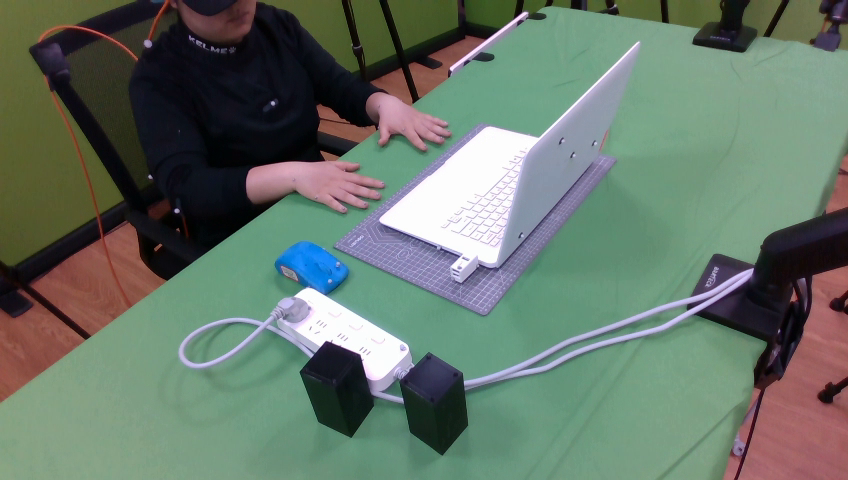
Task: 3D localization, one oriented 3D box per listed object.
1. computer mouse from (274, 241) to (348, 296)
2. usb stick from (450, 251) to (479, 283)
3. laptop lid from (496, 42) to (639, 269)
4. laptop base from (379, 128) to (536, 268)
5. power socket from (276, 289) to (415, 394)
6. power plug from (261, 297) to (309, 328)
[{"bbox_3d":[-0.176,0.040,0.936,0.116,0.041,0.063,27,48,27],"label":"computer mouse"},{"bbox_3d":[0.065,0.036,0.900,0.021,0.027,0.059,24,46,31],"label":"usb stick"},{"bbox_3d":[0.220,-0.130,0.913,0.013,0.242,0.357,31,51,21],"label":"laptop lid"},{"bbox_3d":[0.118,-0.088,1.059,0.233,0.023,0.355,19,47,32],"label":"laptop base"},{"bbox_3d":[-0.114,0.133,0.821,0.225,0.033,0.072,25,49,33],"label":"power socket"},{"bbox_3d":[-0.193,0.107,0.831,0.073,0.053,0.035,-32,43,-25],"label":"power plug"}]
